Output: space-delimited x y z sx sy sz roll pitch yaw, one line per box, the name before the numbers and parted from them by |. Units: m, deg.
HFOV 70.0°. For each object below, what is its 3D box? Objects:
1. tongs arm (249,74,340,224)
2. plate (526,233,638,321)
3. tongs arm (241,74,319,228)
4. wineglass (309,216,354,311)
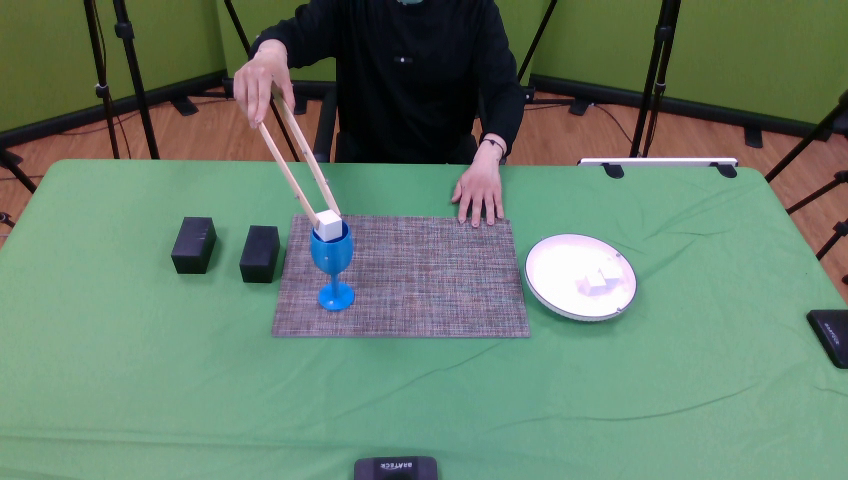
tongs arm | -0.234 -0.170 1.060 0.051 0.026 0.382 -12 54 -24
plate | 0.292 0.071 1.135 0.209 0.038 0.208 2 46 -2
tongs arm | -0.255 -0.164 1.049 0.028 0.028 0.385 -18 56 -23
wineglass | -0.155 0.043 1.032 0.074 0.173 0.073 2 46 -2
